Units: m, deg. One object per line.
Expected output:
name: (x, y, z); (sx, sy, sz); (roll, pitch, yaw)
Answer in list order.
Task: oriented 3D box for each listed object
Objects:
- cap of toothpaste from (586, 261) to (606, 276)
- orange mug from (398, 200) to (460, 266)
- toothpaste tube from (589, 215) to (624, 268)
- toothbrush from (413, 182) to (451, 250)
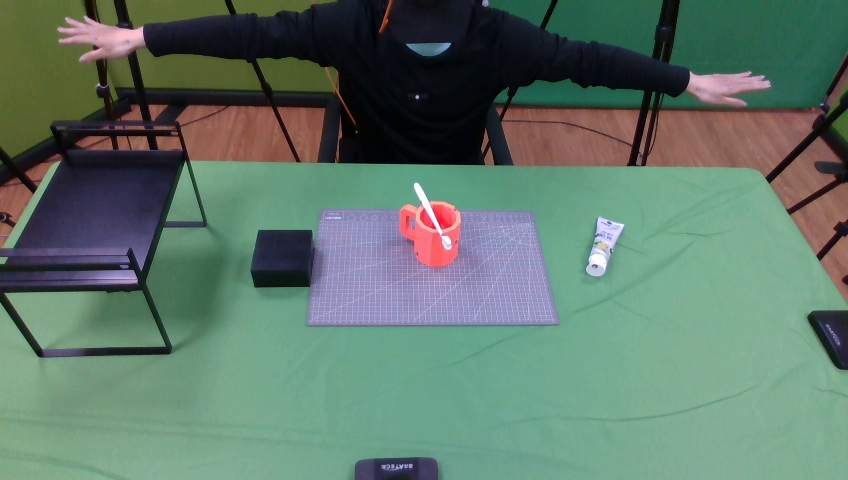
cap of toothpaste: (0.330, 0.053, 1.160); (0.037, 0.037, 0.011); (12, 48, 7)
orange mug: (0.007, -0.020, 1.161); (0.126, 0.101, 0.083); (27, 50, 15)
toothpaste tube: (0.363, 0.005, 1.216); (0.055, 0.034, 0.164); (24, 46, 9)
toothbrush: (0.013, -0.050, 1.118); (0.014, 0.017, 0.180); (-15, 49, -14)
